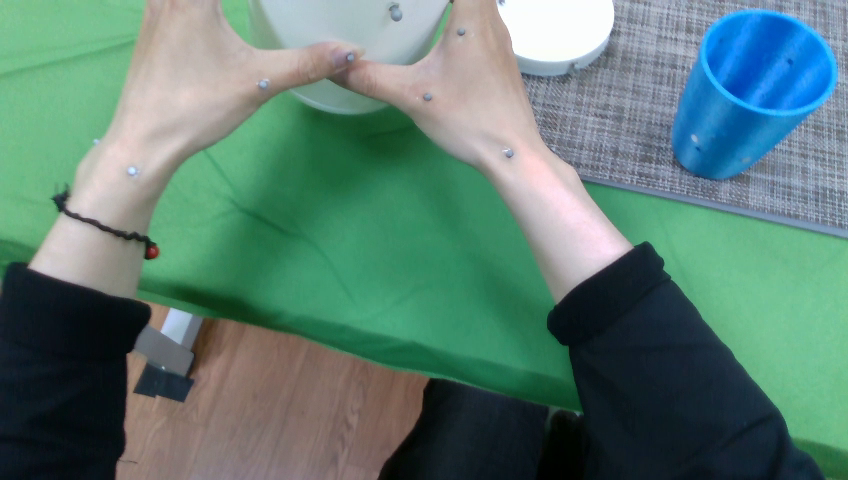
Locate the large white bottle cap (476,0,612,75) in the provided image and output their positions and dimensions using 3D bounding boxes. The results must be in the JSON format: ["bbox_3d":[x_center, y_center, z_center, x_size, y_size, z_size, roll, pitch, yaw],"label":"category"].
[{"bbox_3d":[0.102,-0.192,0.515,0.115,0.018,0.114,0,67,0],"label":"large white bottle cap"}]

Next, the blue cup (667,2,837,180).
[{"bbox_3d":[0.218,-0.093,0.428,0.092,0.101,0.092,-1,65,2],"label":"blue cup"}]

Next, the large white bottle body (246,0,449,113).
[{"bbox_3d":[-0.044,-0.175,0.371,0.131,0.185,0.130,4,75,-13],"label":"large white bottle body"}]
